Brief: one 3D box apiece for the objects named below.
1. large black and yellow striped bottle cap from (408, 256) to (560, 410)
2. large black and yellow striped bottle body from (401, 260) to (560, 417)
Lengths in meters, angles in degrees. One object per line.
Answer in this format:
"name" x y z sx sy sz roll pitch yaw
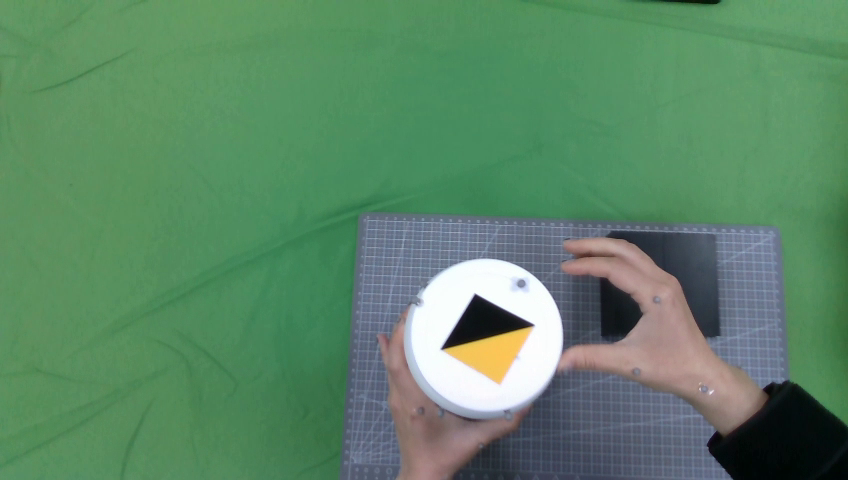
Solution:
"large black and yellow striped bottle cap" 0.045 0.069 0.457 0.115 0.019 0.114 0 80 2
"large black and yellow striped bottle body" 0.047 0.088 0.539 0.131 0.184 0.130 0 78 1
